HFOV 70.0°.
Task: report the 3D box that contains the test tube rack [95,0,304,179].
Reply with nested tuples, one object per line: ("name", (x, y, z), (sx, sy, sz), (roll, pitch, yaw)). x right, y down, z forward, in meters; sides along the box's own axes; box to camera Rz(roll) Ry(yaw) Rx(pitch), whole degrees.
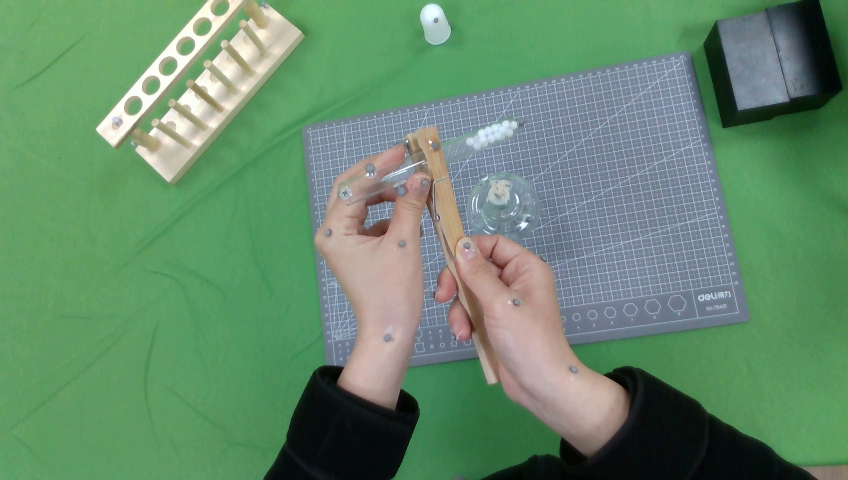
("test tube rack", (-0.257, -0.192, 0.709), (0.066, 0.085, 0.242), (41, 89, 13))

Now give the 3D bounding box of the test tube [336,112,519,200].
("test tube", (0.008, -0.060, 0.409), (0.150, 0.017, 0.017), (-26, 76, -28))

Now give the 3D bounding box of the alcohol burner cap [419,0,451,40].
("alcohol burner cap", (0.011, -0.258, 0.698), (0.034, 0.048, 0.033), (-3, 76, 11))

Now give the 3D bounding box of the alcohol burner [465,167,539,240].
("alcohol burner", (0.078, -0.041, 0.617), (0.078, 0.120, 0.077), (-2, 79, 11))

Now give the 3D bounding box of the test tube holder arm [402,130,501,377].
("test tube holder arm", (0.020, 0.009, 0.415), (0.015, 0.013, 0.178), (-20, 95, -18))

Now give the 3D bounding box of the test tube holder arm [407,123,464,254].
("test tube holder arm", (0.008, -0.034, 0.405), (0.015, 0.010, 0.088), (-20, 102, -18))
